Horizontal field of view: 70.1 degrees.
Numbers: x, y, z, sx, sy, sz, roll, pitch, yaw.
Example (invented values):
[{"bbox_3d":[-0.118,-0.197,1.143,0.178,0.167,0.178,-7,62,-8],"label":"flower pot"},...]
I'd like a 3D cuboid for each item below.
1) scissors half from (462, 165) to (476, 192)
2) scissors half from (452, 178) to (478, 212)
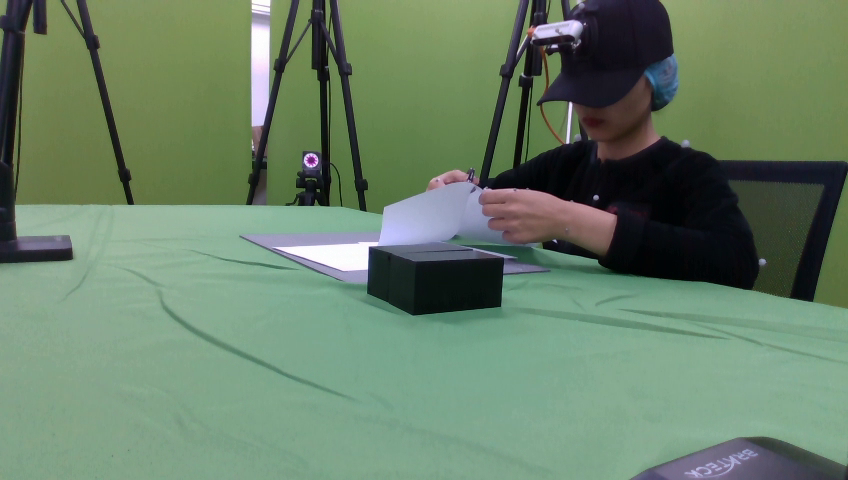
[{"bbox_3d":[0.074,-0.094,0.952,0.013,0.040,0.175,20,12,-3],"label":"scissors half"},{"bbox_3d":[0.066,-0.074,0.952,0.013,0.040,0.175,25,-12,-2],"label":"scissors half"}]
